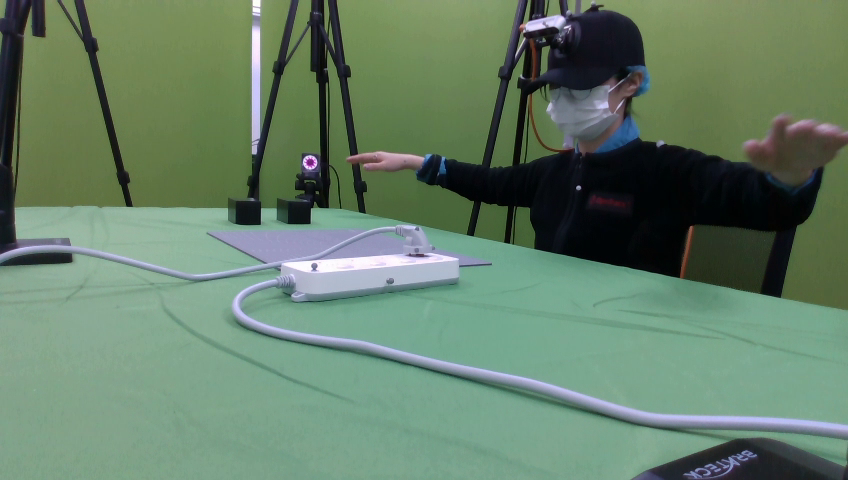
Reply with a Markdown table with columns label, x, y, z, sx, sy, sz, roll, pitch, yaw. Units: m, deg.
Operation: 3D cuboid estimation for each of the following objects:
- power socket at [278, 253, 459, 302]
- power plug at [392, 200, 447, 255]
| label | x | y | z | sx | sy | sz | roll | pitch | yaw |
| --- | --- | --- | --- | --- | --- | --- | --- | --- | --- |
| power socket | -0.055 | 0.037 | 0.675 | 0.228 | 0.032 | 0.072 | -4 | 8 | -40 |
| power plug | -0.007 | -0.017 | 0.726 | 0.053 | 0.072 | 0.035 | 16 | -11 | -21 |
